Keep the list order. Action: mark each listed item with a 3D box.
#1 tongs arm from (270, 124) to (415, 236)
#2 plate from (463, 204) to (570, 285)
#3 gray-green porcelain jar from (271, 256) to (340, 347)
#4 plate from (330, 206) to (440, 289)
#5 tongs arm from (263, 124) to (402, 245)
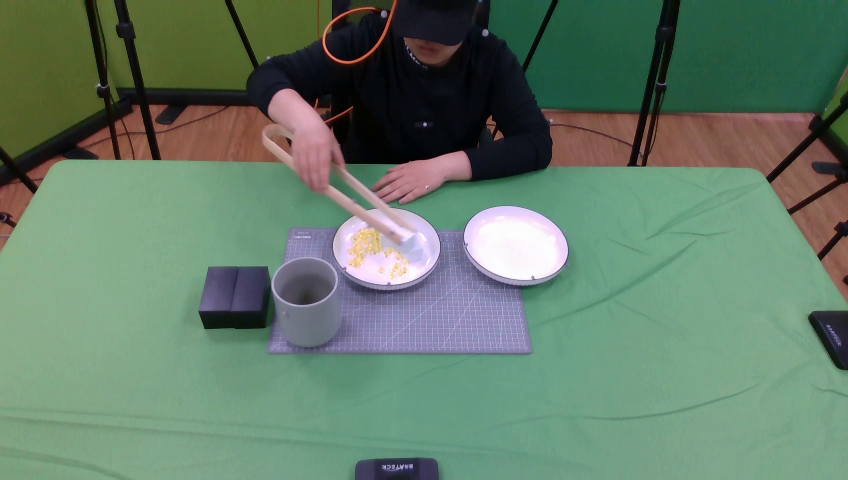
[{"bbox_3d":[-0.161,-0.121,1.156,0.386,0.028,0.028,37,52,22],"label":"tongs arm"},{"bbox_3d":[0.178,0.012,1.184,0.209,0.038,0.208,3,46,-3],"label":"plate"},{"bbox_3d":[-0.193,0.107,1.004,0.106,0.127,0.105,2,46,-2],"label":"gray-green porcelain jar"},{"bbox_3d":[-0.074,0.017,1.160,0.208,0.039,0.206,2,46,-2],"label":"plate"},{"bbox_3d":[-0.177,-0.111,1.142,0.383,0.026,0.050,34,48,19],"label":"tongs arm"}]
